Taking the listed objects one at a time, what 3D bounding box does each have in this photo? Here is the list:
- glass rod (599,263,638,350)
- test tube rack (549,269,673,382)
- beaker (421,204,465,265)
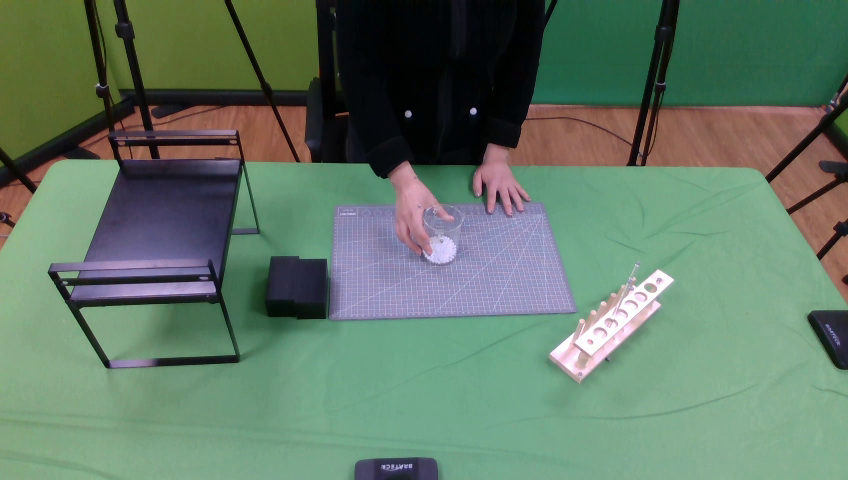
[{"bbox_3d":[0.311,0.112,0.976,0.008,0.200,0.008,4,40,-3],"label":"glass rod"},{"bbox_3d":[0.325,0.134,1.047,0.242,0.085,0.066,-32,56,-30],"label":"test tube rack"},{"bbox_3d":[0.034,-0.008,1.151,0.084,0.101,0.073,-10,48,-13],"label":"beaker"}]
